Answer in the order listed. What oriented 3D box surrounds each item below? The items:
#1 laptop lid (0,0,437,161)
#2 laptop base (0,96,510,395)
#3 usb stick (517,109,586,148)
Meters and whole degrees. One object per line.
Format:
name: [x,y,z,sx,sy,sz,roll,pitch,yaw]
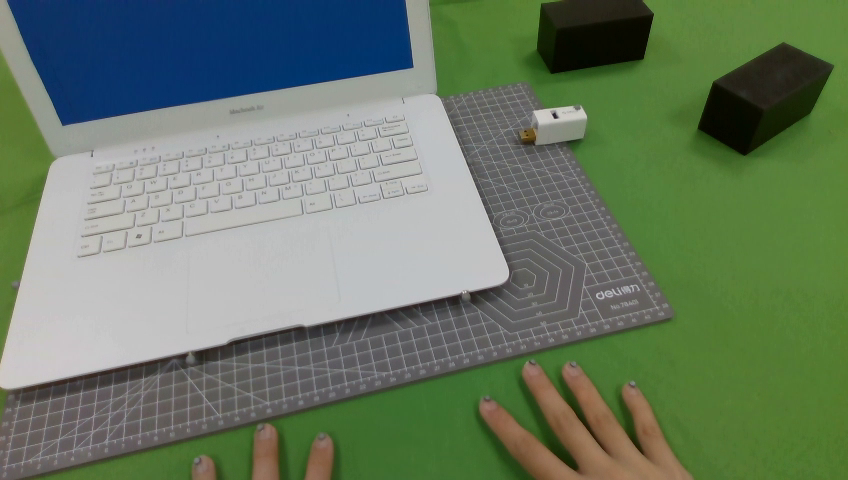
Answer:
laptop lid: [-0.170,-0.196,0.501,0.357,0.244,0.013,-13,34,-6]
laptop base: [-0.132,-0.014,0.490,0.355,0.023,0.233,-12,52,-7]
usb stick: [0.113,-0.099,0.542,0.059,0.027,0.021,-10,48,-2]
